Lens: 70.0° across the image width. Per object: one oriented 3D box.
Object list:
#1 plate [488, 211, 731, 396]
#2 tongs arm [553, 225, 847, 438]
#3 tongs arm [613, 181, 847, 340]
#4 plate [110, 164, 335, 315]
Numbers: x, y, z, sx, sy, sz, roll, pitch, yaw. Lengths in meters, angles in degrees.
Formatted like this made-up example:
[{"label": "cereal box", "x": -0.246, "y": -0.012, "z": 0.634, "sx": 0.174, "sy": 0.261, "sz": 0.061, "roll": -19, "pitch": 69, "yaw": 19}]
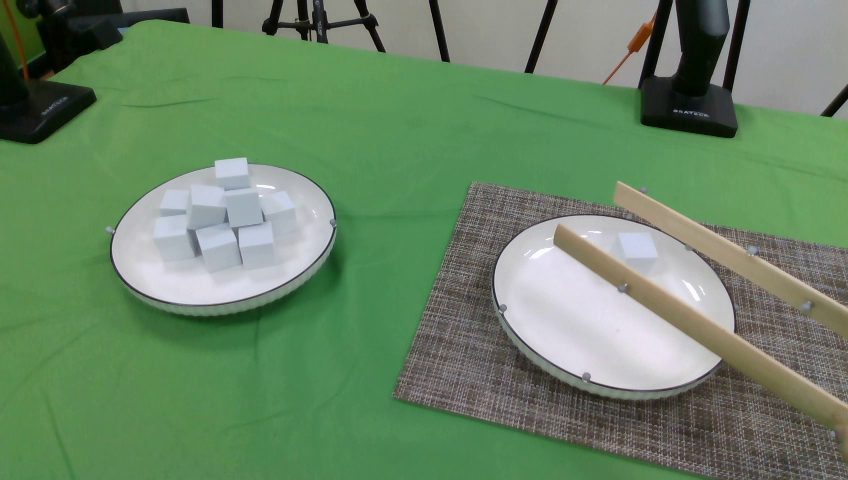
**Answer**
[{"label": "plate", "x": 0.160, "y": 0.054, "z": 0.543, "sx": 0.208, "sy": 0.039, "sz": 0.205, "roll": 1, "pitch": 43, "yaw": -1}, {"label": "tongs arm", "x": 0.242, "y": 0.089, "z": 0.385, "sx": 0.384, "sy": 0.028, "sz": 0.028, "roll": 34, "pitch": 52, "yaw": 30}, {"label": "tongs arm", "x": 0.276, "y": 0.067, "z": 0.404, "sx": 0.051, "sy": 0.027, "sz": 0.381, "roll": -34, "pitch": 54, "yaw": -28}, {"label": "plate", "x": -0.190, "y": -0.001, "z": 0.595, "sx": 0.209, "sy": 0.038, "sz": 0.207, "roll": 1, "pitch": 42, "yaw": -1}]
